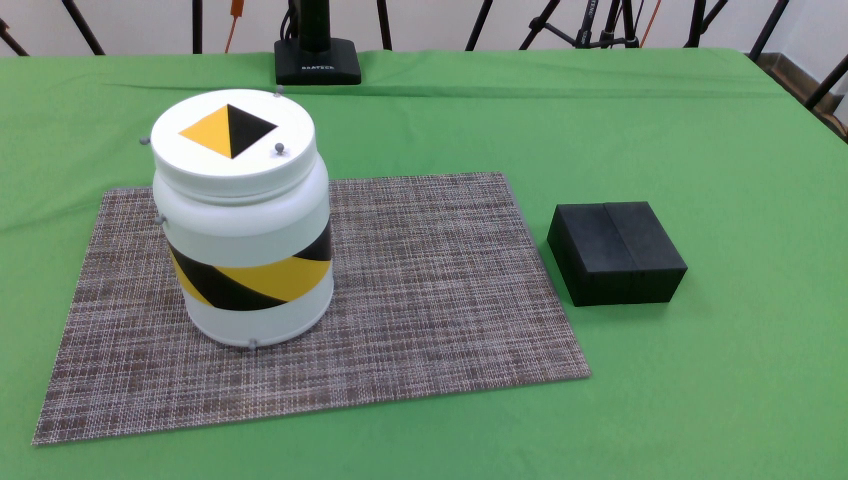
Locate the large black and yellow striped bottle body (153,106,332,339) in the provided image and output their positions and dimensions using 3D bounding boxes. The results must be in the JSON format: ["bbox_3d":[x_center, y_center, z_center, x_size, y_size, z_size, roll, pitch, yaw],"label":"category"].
[{"bbox_3d":[-0.146,-0.019,0.506,0.131,0.185,0.129,3,44,-3],"label":"large black and yellow striped bottle body"}]

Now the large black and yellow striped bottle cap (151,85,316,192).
[{"bbox_3d":[-0.139,-0.078,0.446,0.115,0.019,0.114,3,44,-2],"label":"large black and yellow striped bottle cap"}]
